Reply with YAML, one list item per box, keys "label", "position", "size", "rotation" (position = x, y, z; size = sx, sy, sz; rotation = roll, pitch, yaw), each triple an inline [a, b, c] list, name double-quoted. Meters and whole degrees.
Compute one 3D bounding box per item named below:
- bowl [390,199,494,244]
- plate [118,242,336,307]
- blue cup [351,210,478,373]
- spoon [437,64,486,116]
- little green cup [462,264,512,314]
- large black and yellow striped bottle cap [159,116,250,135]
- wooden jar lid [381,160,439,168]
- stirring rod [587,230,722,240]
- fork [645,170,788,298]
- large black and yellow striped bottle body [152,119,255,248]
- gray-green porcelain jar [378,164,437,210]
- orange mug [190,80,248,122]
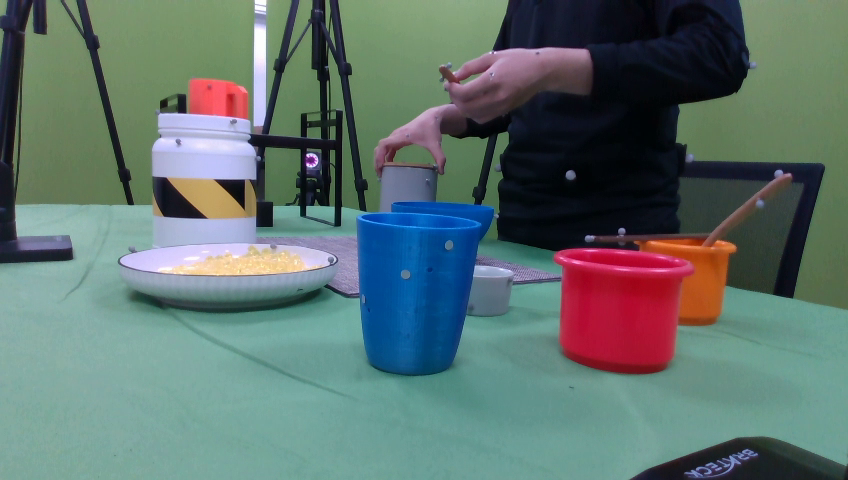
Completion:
- label: "bowl"
  position: [0.024, -0.015, 0.871]
  size: [0.151, 0.077, 0.151]
  rotation: [3, 7, 0]
- label: "plate"
  position: [-0.194, 0.033, 0.615]
  size: [0.209, 0.038, 0.209]
  rotation: [2, 7, 0]
- label: "blue cup"
  position: [-0.009, 0.034, 0.414]
  size: [0.093, 0.100, 0.092]
  rotation: [4, 8, 0]
- label: "spoon"
  position: [0.050, -0.212, 0.862]
  size: [0.041, 0.021, 0.194]
  rotation: [1, -9, 20]
- label: "little green cup"
  position: [0.053, 0.047, 0.580]
  size: [0.061, 0.038, 0.061]
  rotation: [3, 8, 0]
- label: "large black and yellow striped bottle cap"
  position: [-0.292, -0.153, 0.810]
  size: [0.115, 0.019, 0.115]
  rotation: [3, 9, 0]
- label: "wooden jar lid"
  position: [-0.027, -0.136, 1.127]
  size: [0.108, 0.020, 0.108]
  rotation: [4, 4, 0]
- label: "stirring rod"
  position: [0.227, -0.006, 0.585]
  size: [0.177, 0.006, 0.014]
  rotation: [-2, 7, -28]
- label: "fork"
  position: [0.256, 0.004, 0.543]
  size: [0.028, 0.018, 0.207]
  rotation: [3, -37, -10]
- label: "large black and yellow striped bottle body"
  position: [-0.296, -0.070, 0.819]
  size: [0.131, 0.184, 0.130]
  rotation: [2, 7, 0]
- label: "gray-green porcelain jar"
  position: [-0.032, -0.074, 1.130]
  size: [0.106, 0.126, 0.106]
  rotation: [4, 3, 0]
- label: "orange mug"
  position: [-0.394, -0.257, 1.173]
  size: [0.126, 0.100, 0.084]
  rotation: [1, 6, 25]
